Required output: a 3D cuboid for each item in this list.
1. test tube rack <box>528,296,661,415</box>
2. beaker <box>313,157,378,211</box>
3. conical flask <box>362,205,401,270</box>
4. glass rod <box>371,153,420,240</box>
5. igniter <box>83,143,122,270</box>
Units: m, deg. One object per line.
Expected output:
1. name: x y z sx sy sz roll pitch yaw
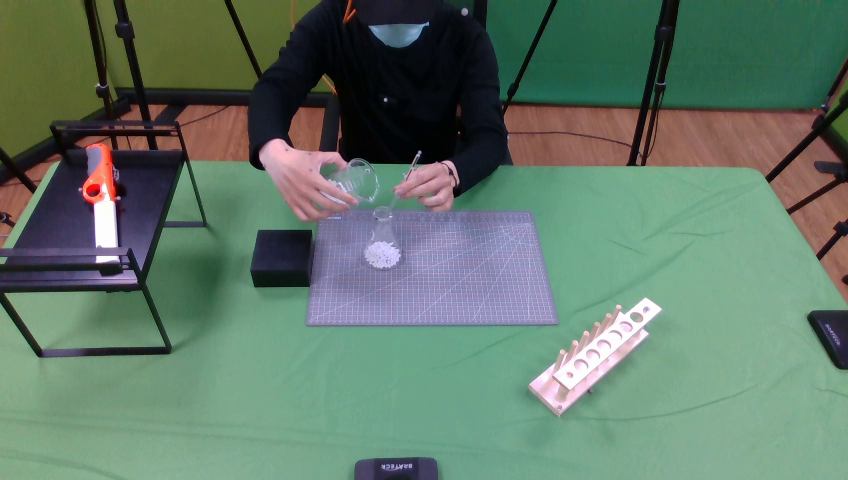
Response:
1. test tube rack: 0.285 0.178 1.005 0.242 0.085 0.066 -31 55 -29
2. beaker: -0.140 -0.094 1.075 0.100 0.084 0.074 -14 21 40
3. conical flask: -0.078 -0.008 1.127 0.075 0.122 0.075 2 46 -2
4. glass rod: -0.053 -0.073 1.076 0.008 0.200 0.008 22 32 -14
5. igniter: -0.508 -0.063 0.962 0.057 0.025 0.274 -14 53 -18
